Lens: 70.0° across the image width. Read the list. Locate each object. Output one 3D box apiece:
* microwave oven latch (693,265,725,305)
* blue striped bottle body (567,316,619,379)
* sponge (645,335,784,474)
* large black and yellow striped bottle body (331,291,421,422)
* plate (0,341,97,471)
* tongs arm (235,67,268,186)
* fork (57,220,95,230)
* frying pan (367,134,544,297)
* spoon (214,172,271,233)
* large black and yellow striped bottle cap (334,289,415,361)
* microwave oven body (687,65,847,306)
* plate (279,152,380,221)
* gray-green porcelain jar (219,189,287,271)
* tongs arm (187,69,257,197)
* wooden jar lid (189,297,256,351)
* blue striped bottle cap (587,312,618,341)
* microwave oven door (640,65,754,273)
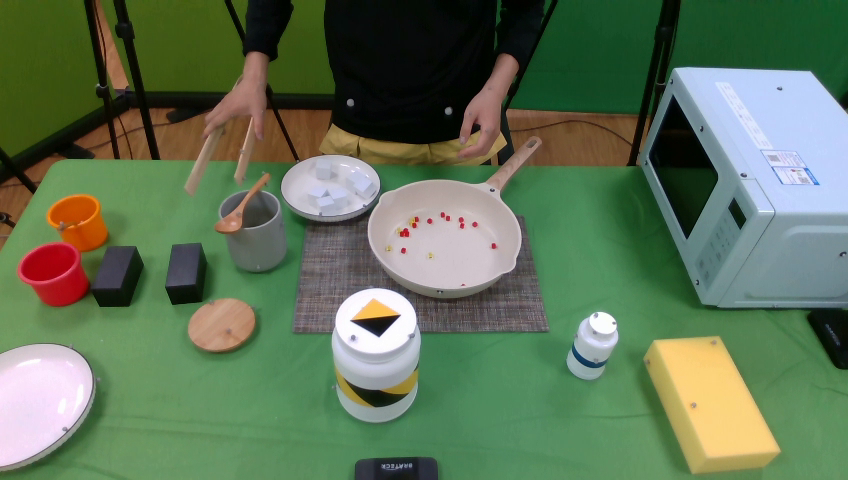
[{"bbox_3d":[0.523,0.081,1.116,0.030,0.029,0.078,2,46,-1],"label":"microwave oven latch"},{"bbox_3d":[0.276,0.168,0.984,0.063,0.121,0.062,2,46,-2],"label":"blue striped bottle body"},{"bbox_3d":[0.449,0.253,0.956,0.118,0.061,0.205,-4,46,-7],"label":"sponge"},{"bbox_3d":[-0.071,0.175,0.911,0.131,0.185,0.130,2,47,-2],"label":"large black and yellow striped bottle body"},{"bbox_3d":[-0.599,0.247,0.904,0.209,0.038,0.208,2,47,-2],"label":"plate"},{"bbox_3d":[-0.370,-0.249,1.272,0.051,0.027,0.382,-13,47,14],"label":"tongs arm"},{"bbox_3d":[-0.624,-0.027,1.086,0.028,0.207,0.018,-3,92,-17],"label":"fork"},{"bbox_3d":[0.104,-0.069,1.205,0.305,0.103,0.487,32,61,23],"label":"frying pan"},{"bbox_3d":[-0.312,-0.070,1.070,0.041,0.022,0.193,9,43,10],"label":"spoon"},{"bbox_3d":[-0.069,0.117,0.850,0.115,0.019,0.114,2,45,-2],"label":"large black and yellow striped bottle cap"},{"bbox_3d":[0.669,-0.111,1.176,0.326,0.261,0.439,0,46,-3],"label":"microwave oven body"},{"bbox_3d":[-0.196,-0.107,1.269,0.208,0.039,0.206,2,45,-2],"label":"plate"},{"bbox_3d":[-0.310,-0.014,1.113,0.106,0.127,0.105,2,46,-2],"label":"gray-green porcelain jar"},{"bbox_3d":[-0.426,-0.239,1.286,0.028,0.028,0.385,-10,48,21],"label":"tongs arm"},{"bbox_3d":[-0.342,0.145,1.033,0.108,0.021,0.107,2,45,-2],"label":"wooden jar lid"},{"bbox_3d":[0.279,0.134,0.946,0.044,0.021,0.044,2,45,-2],"label":"blue striped bottle cap"},{"bbox_3d":[0.523,-0.147,1.193,0.039,0.245,0.353,0,47,-3],"label":"microwave oven door"}]
